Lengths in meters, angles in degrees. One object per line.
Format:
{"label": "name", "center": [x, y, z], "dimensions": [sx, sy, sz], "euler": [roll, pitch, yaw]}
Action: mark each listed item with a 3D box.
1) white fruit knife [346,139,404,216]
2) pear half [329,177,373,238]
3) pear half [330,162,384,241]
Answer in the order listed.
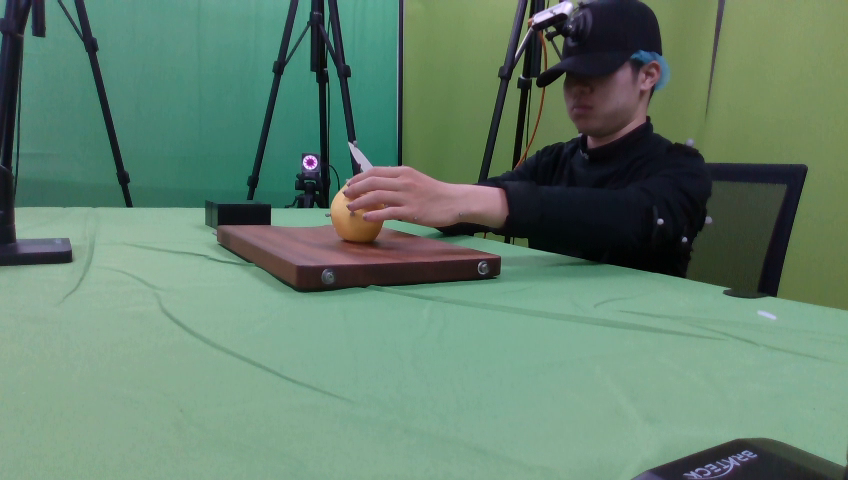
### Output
{"label": "white fruit knife", "center": [-0.072, -0.095, 0.927], "dimensions": [0.016, 0.027, 0.208], "euler": [1, -24, 21]}
{"label": "pear half", "center": [-0.109, -0.047, 0.866], "dimensions": [0.031, 0.088, 0.071], "euler": [8, 13, 44]}
{"label": "pear half", "center": [-0.086, -0.052, 0.839], "dimensions": [0.055, 0.110, 0.077], "euler": [9, 14, 43]}
